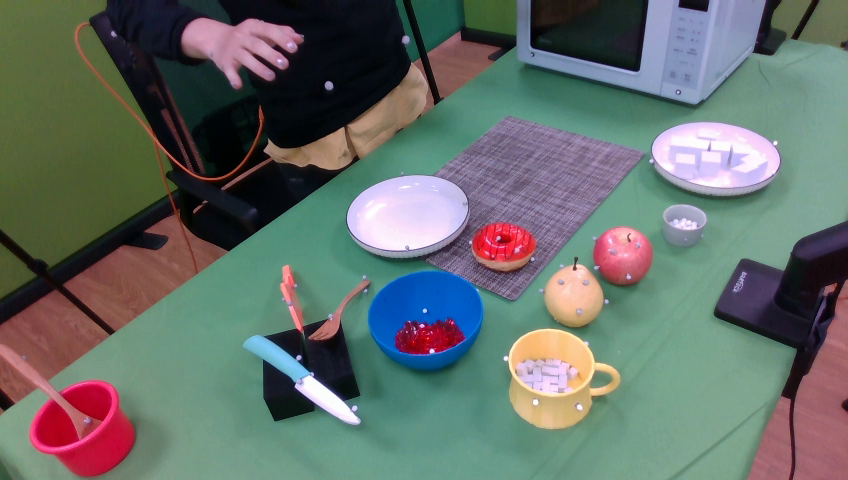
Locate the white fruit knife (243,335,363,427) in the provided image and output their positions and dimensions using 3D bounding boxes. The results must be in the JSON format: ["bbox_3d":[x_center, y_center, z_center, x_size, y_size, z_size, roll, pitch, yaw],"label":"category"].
[{"bbox_3d":[-0.148,0.167,0.729,0.206,0.016,0.027,27,80,31],"label":"white fruit knife"}]

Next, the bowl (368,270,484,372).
[{"bbox_3d":[0.006,0.118,0.792,0.151,0.077,0.150,-5,40,4],"label":"bowl"}]

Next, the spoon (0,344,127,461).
[{"bbox_3d":[-0.433,0.191,0.721,0.194,0.021,0.042,47,54,-7],"label":"spoon"}]

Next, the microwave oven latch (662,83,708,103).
[{"bbox_3d":[0.517,-0.296,1.204,0.078,0.029,0.030,27,52,35],"label":"microwave oven latch"}]

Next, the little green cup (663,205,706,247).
[{"bbox_3d":[0.396,-0.021,0.926,0.061,0.039,0.061,-4,40,4],"label":"little green cup"}]

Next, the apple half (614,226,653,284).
[{"bbox_3d":[0.298,0.023,0.864,0.053,0.075,0.080,-3,37,1],"label":"apple half"}]

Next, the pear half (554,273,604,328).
[{"bbox_3d":[0.208,0.086,0.790,0.071,0.088,0.031,-14,39,-15],"label":"pear half"}]

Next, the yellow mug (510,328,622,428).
[{"bbox_3d":[0.168,0.164,0.722,0.130,0.064,0.099,0,40,8],"label":"yellow mug"}]

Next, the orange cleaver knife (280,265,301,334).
[{"bbox_3d":[-0.188,0.081,0.862,0.012,0.077,0.210,-20,12,-9],"label":"orange cleaver knife"}]

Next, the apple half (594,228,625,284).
[{"bbox_3d":[0.259,0.026,0.864,0.033,0.081,0.081,-3,40,0],"label":"apple half"}]

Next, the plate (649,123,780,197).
[{"bbox_3d":[0.497,-0.135,1.046,0.207,0.039,0.206,-4,40,4],"label":"plate"}]

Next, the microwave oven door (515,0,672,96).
[{"bbox_3d":[0.343,-0.454,1.259,0.353,0.245,0.039,26,51,33],"label":"microwave oven door"}]

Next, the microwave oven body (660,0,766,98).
[{"bbox_3d":[0.472,-0.513,1.317,0.438,0.261,0.327,26,51,34],"label":"microwave oven body"}]

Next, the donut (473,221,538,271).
[{"bbox_3d":[0.123,0.008,0.923,0.099,0.048,0.098,-4,38,3],"label":"donut"}]

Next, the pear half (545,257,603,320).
[{"bbox_3d":[0.197,0.056,0.811,0.076,0.110,0.055,-14,41,-13],"label":"pear half"}]

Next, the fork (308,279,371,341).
[{"bbox_3d":[-0.109,0.093,0.832,0.028,0.018,0.207,-3,20,15],"label":"fork"}]

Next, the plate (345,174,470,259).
[{"bbox_3d":[-0.026,-0.037,1.004,0.209,0.038,0.208,-4,40,4],"label":"plate"}]
